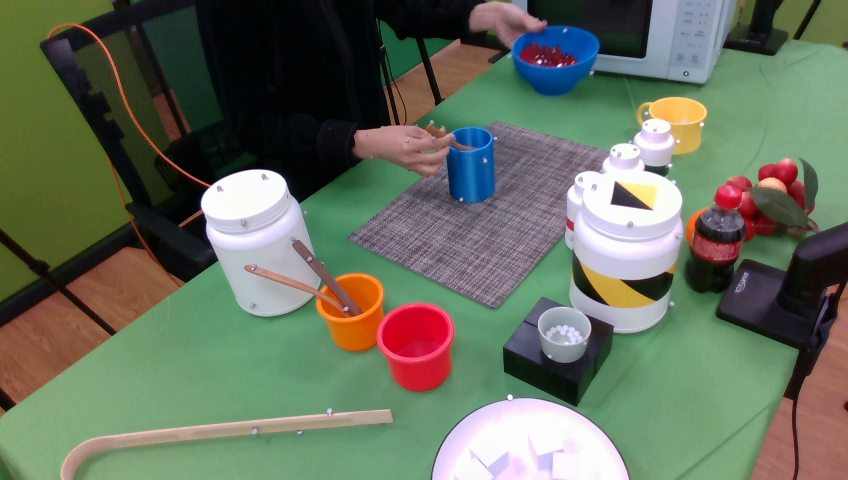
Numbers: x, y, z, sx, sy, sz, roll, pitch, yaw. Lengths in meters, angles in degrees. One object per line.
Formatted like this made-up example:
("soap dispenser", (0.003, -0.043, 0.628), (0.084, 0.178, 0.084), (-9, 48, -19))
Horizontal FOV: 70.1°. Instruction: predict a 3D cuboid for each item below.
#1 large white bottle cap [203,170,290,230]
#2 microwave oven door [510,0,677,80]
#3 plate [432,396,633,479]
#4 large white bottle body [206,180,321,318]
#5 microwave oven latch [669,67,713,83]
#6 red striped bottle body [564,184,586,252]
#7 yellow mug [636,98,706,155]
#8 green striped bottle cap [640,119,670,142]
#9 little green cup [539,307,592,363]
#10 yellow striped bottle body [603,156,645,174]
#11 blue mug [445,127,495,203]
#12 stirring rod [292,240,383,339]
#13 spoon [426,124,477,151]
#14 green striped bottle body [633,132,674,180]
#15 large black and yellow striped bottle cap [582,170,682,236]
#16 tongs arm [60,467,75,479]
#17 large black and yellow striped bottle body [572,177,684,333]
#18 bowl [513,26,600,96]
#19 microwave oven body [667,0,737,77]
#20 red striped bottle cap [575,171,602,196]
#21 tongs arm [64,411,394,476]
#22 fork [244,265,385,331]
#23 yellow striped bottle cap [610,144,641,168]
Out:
("large white bottle cap", (-0.241, -0.057, 0.822), (0.115, 0.018, 0.114), (-4, 40, 4))
("microwave oven door", (0.354, -0.478, 1.290), (0.353, 0.245, 0.039), (15, 45, 25))
("plate", (0.112, 0.261, 0.634), (0.209, 0.038, 0.208), (-5, 40, 4))
("large white bottle body", (-0.233, 0.007, 0.876), (0.130, 0.185, 0.130), (-5, 40, 4))
("microwave oven latch", (0.556, -0.348, 1.261), (0.078, 0.029, 0.030), (16, 46, 27))
("red striped bottle body", (0.247, -0.041, 0.910), (0.063, 0.120, 0.062), (-3, 39, 3))
("yellow mug", (0.453, -0.217, 1.128), (0.100, 0.064, 0.129), (-34, 46, -27))
("green striped bottle cap", (0.371, -0.175, 0.968), (0.044, 0.020, 0.044), (-4, 41, 4))
("little green cup", (0.168, 0.115, 0.721), (0.061, 0.039, 0.061), (-4, 42, 4))
("yellow striped bottle body", (0.313, -0.089, 0.956), (0.063, 0.121, 0.062), (-4, 40, 4))
("blue mug", (0.082, -0.140, 1.059), (0.082, 0.106, 0.116), (-4, 40, 5))
("stirring rod", (-0.118, 0.068, 0.826), (0.176, 0.006, 0.014), (49, 59, -4))
("spoon", (0.047, -0.154, 0.974), (0.041, 0.195, 0.021), (-32, 66, 20))
("green striped bottle body", (0.376, -0.135, 1.001), (0.063, 0.120, 0.063), (-5, 40, 5))
("large black and yellow striped bottle cap", (0.252, -0.048, 0.735), (0.115, 0.019, 0.114), (-3, 40, 3))
("tongs arm", (-0.239, 0.301, 0.648), (0.386, 0.028, 0.028), (6, 49, 16))
("large black and yellow striped bottle body", (0.262, 0.017, 0.788), (0.131, 0.185, 0.130), (-5, 40, 4))
("bowl", (0.235, -0.311, 1.080), (0.151, 0.077, 0.150), (-4, 44, 5))
("microwave oven body", (0.462, -0.552, 1.369), (0.439, 0.261, 0.326), (15, 45, 26))
("red striped bottle cap", (0.242, -0.081, 0.876), (0.044, 0.018, 0.044), (-5, 44, 5))
("tongs arm", (-0.228, 0.241, 0.715), (0.385, 0.026, 0.050), (-5, 43, 4))
("fork", (-0.142, 0.078, 0.806), (0.209, 0.018, 0.028), (30, 33, -23))
("yellow striped bottle cap", (0.307, -0.128, 0.923), (0.044, 0.019, 0.044), (-5, 39, 5))
